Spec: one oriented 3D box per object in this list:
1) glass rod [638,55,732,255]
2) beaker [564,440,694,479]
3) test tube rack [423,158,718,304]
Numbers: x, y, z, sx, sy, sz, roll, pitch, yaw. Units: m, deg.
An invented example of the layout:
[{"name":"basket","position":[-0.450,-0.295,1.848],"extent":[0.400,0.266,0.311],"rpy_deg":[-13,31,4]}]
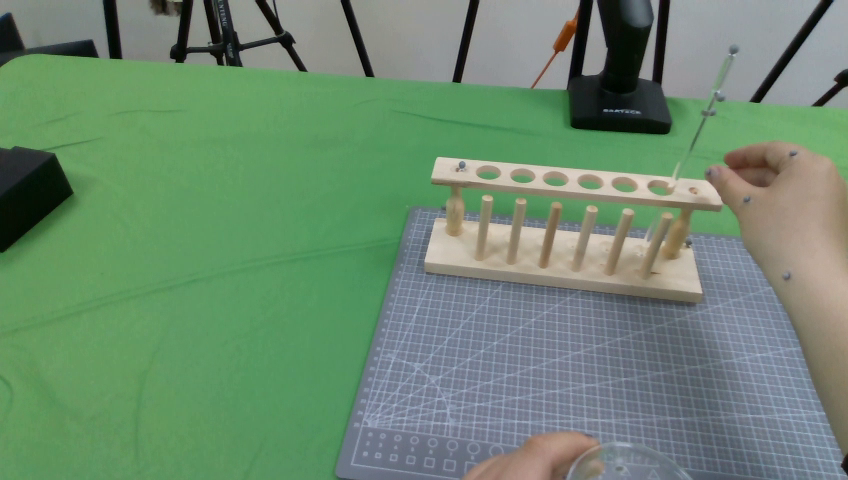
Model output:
[{"name":"glass rod","position":[0.208,-0.057,0.493],"extent":[0.008,0.201,0.008],"rpy_deg":[2,45,-2]},{"name":"beaker","position":[0.096,0.167,0.324],"extent":[0.084,0.101,0.073],"rpy_deg":[-2,42,-11]},{"name":"test tube rack","position":[0.123,-0.009,0.539],"extent":[0.242,0.086,0.066],"rpy_deg":[6,42,7]}]
